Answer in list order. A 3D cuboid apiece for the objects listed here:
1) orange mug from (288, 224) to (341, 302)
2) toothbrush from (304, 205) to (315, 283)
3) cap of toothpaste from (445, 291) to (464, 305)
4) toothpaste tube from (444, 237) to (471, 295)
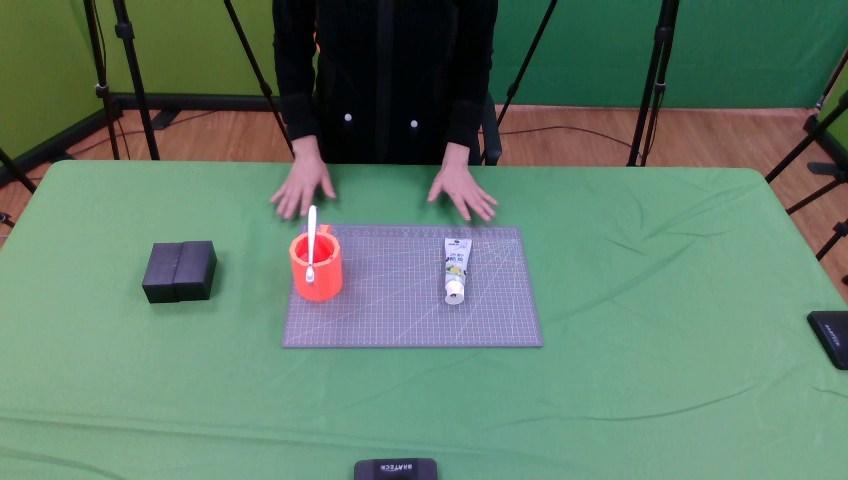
[{"bbox_3d":[-0.192,0.034,1.094,0.083,0.101,0.125,7,50,2],"label":"orange mug"},{"bbox_3d":[-0.199,0.001,1.052,0.014,0.017,0.180,-4,46,-4],"label":"toothbrush"},{"bbox_3d":[0.054,0.103,1.088,0.037,0.037,0.011,-4,48,-7],"label":"cap of toothpaste"},{"bbox_3d":[0.061,0.049,1.149,0.055,0.034,0.164,9,42,-3],"label":"toothpaste tube"}]
